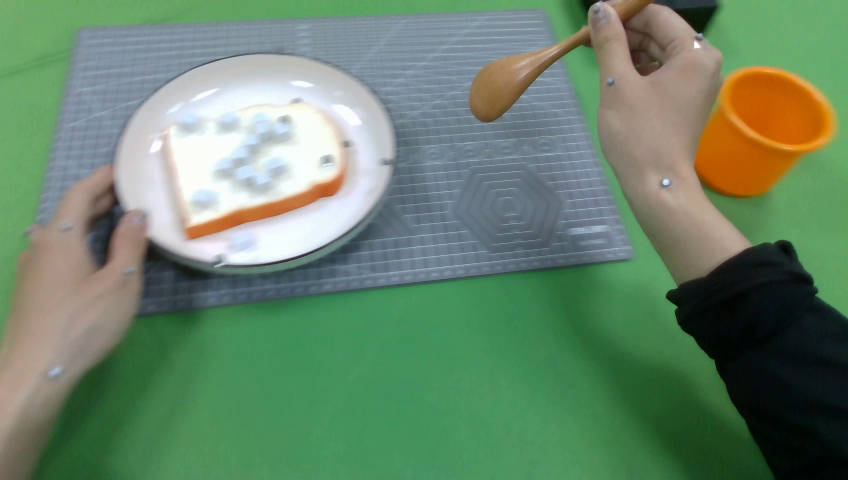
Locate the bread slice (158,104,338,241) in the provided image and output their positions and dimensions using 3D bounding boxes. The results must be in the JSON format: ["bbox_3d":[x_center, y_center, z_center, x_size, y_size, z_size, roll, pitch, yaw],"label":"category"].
[{"bbox_3d":[-0.136,-0.063,0.478,0.132,0.019,0.104,-20,63,-15],"label":"bread slice"}]

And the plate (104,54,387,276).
[{"bbox_3d":[-0.133,-0.060,0.473,0.209,0.038,0.207,3,59,-4],"label":"plate"}]

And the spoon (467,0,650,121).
[{"bbox_3d":[0.101,-0.137,0.401,0.022,0.193,0.041,5,64,-53],"label":"spoon"}]
